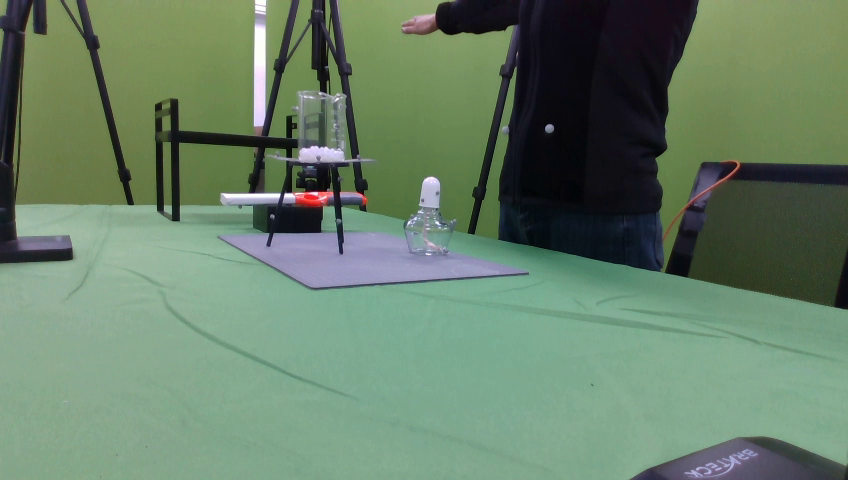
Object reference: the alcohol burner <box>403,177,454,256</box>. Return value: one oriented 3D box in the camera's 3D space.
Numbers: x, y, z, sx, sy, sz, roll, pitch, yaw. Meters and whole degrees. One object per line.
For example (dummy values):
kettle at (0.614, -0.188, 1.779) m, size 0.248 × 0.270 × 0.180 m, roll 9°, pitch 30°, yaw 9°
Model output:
alcohol burner at (0.007, -0.036, 0.915) m, size 0.078 × 0.119 × 0.078 m, roll 4°, pitch 6°, yaw 0°

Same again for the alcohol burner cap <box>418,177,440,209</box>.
alcohol burner cap at (0.009, -0.071, 0.909) m, size 0.034 × 0.048 × 0.034 m, roll 5°, pitch 9°, yaw 0°

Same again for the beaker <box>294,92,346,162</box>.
beaker at (-0.152, -0.165, 0.896) m, size 0.074 × 0.100 × 0.083 m, roll -4°, pitch 10°, yaw -33°

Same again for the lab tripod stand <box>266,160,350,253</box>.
lab tripod stand at (-0.163, -0.054, 0.914) m, size 0.148 × 0.131 × 0.148 m, roll 2°, pitch 9°, yaw 0°

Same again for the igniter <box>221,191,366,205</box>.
igniter at (-0.240, -0.079, 1.150) m, size 0.278 × 0.025 × 0.057 m, roll -3°, pitch 20°, yaw -32°

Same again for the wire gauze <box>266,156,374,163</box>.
wire gauze at (-0.154, -0.119, 0.910) m, size 0.122 × 0.011 × 0.124 m, roll -4°, pitch 8°, yaw -45°
